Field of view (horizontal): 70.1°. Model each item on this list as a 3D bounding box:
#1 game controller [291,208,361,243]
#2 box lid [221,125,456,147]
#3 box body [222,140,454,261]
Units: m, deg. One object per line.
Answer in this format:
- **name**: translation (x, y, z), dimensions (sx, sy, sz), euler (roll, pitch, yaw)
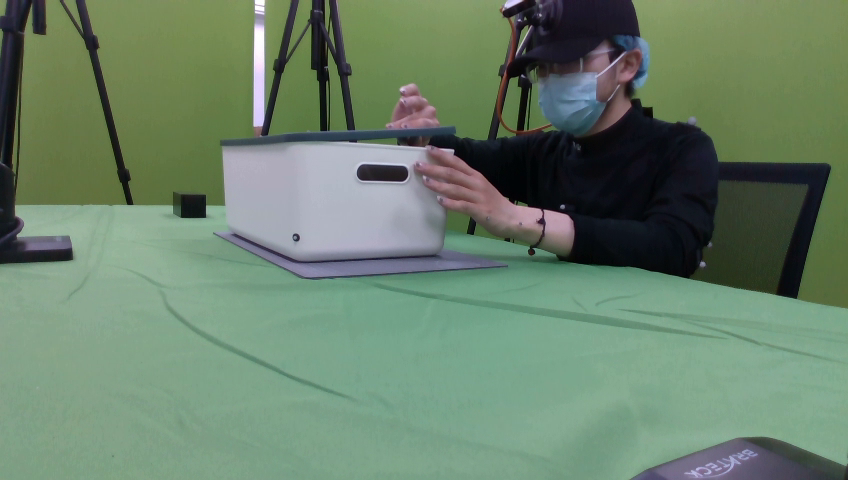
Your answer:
- **game controller**: translation (-0.160, -0.024, 0.965), dimensions (0.097, 0.051, 0.154), euler (-4, 6, -15)
- **box lid**: translation (-0.148, -0.160, 0.949), dimensions (0.265, 0.015, 0.369), euler (-10, 11, -31)
- **box body**: translation (-0.152, -0.074, 0.963), dimensions (0.255, 0.160, 0.362), euler (-3, 9, -33)
